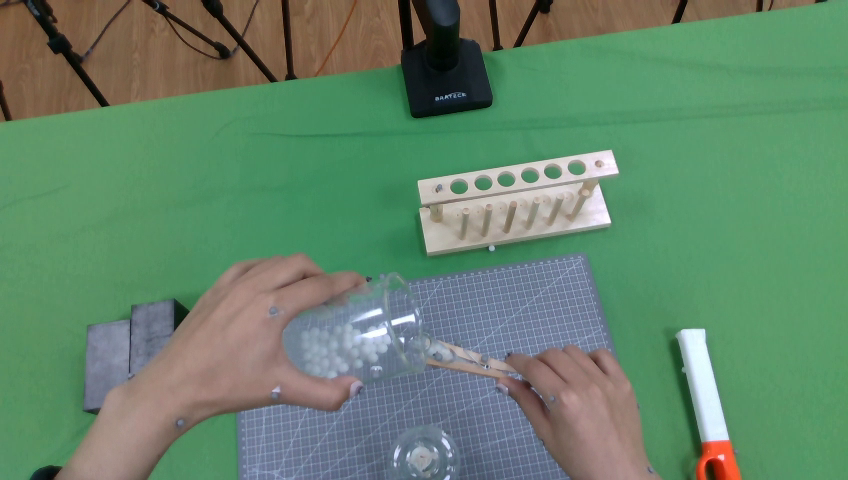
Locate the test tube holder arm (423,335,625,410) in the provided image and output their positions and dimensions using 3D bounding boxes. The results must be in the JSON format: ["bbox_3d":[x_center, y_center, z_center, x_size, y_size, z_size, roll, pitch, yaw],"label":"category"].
[{"bbox_3d":[0.083,0.113,0.524,0.178,0.015,0.013,15,82,13],"label":"test tube holder arm"}]

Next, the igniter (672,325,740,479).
[{"bbox_3d":[0.320,0.229,0.670,0.057,0.025,0.274,1,66,-9],"label":"igniter"}]

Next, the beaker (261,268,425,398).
[{"bbox_3d":[-0.057,0.071,0.442,0.100,0.085,0.073,-17,58,13],"label":"beaker"}]

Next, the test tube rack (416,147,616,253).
[{"bbox_3d":[0.115,-0.049,0.763,0.242,0.086,0.066,-9,66,-3],"label":"test tube rack"}]

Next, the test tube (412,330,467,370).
[{"bbox_3d":[0.017,0.100,0.536,0.017,0.151,0.017,-5,71,15],"label":"test tube"}]

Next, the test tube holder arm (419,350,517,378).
[{"bbox_3d":[0.039,0.110,0.533,0.087,0.015,0.010,7,79,12],"label":"test tube holder arm"}]

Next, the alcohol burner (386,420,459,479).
[{"bbox_3d":[-0.002,0.224,0.628,0.078,0.120,0.077,0,64,1],"label":"alcohol burner"}]
